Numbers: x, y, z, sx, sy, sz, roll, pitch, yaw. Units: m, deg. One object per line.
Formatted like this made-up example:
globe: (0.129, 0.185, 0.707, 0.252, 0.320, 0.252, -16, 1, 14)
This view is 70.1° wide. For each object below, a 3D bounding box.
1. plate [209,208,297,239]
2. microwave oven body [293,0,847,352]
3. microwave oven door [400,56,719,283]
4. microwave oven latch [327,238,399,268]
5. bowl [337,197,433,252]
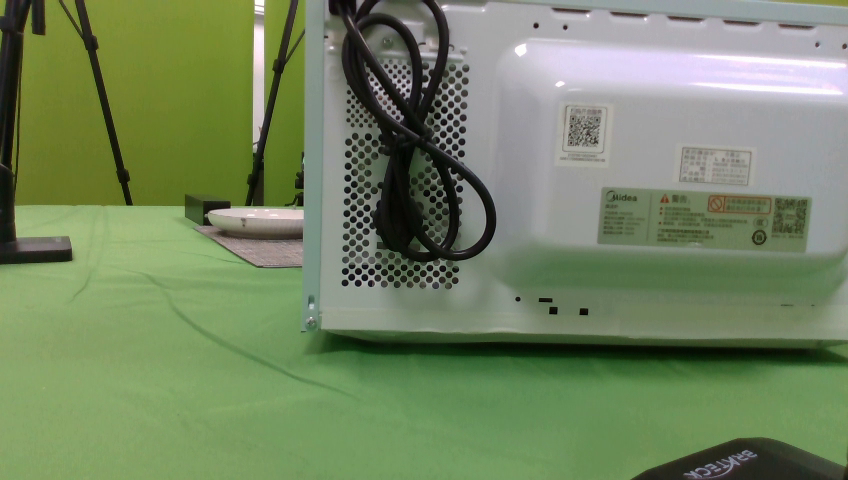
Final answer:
plate: (-0.271, -0.029, 1.074, 0.208, 0.039, 0.207, 3, 7, 0)
microwave oven body: (0.122, -0.055, 0.550, 0.442, 0.260, 0.325, 3, 7, -5)
microwave oven door: (0.155, -0.077, 0.698, 0.356, 0.243, 0.039, 2, 8, -5)
microwave oven latch: (-0.069, 0.015, 0.694, 0.079, 0.029, 0.030, 3, 7, -3)
bowl: (-0.062, -0.025, 0.955, 0.151, 0.077, 0.151, 3, 8, 0)
